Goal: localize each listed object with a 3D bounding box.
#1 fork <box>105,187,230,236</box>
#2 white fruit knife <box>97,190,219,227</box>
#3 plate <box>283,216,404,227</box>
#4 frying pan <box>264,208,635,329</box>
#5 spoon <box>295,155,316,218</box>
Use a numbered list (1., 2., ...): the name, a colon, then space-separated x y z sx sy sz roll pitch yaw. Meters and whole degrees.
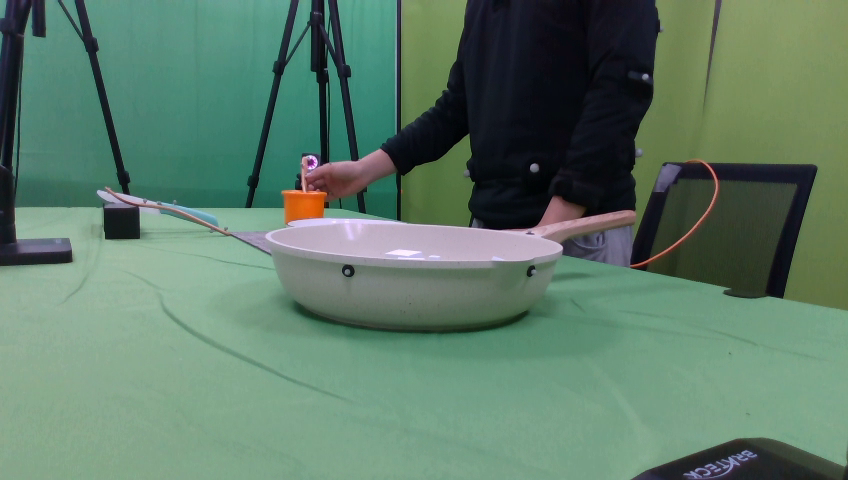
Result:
1. fork: -0.428 -0.046 1.020 0.208 0.018 0.028 19 -8 -26
2. white fruit knife: -0.468 -0.056 1.079 0.208 0.027 0.016 15 -1 -29
3. plate: -0.119 -0.009 0.968 0.208 0.039 0.207 3 7 0
4. frying pan: 0.075 0.007 0.666 0.490 0.102 0.305 -12 15 -33
5. spoon: -0.250 -0.108 1.261 0.042 0.021 0.193 2 47 -17
